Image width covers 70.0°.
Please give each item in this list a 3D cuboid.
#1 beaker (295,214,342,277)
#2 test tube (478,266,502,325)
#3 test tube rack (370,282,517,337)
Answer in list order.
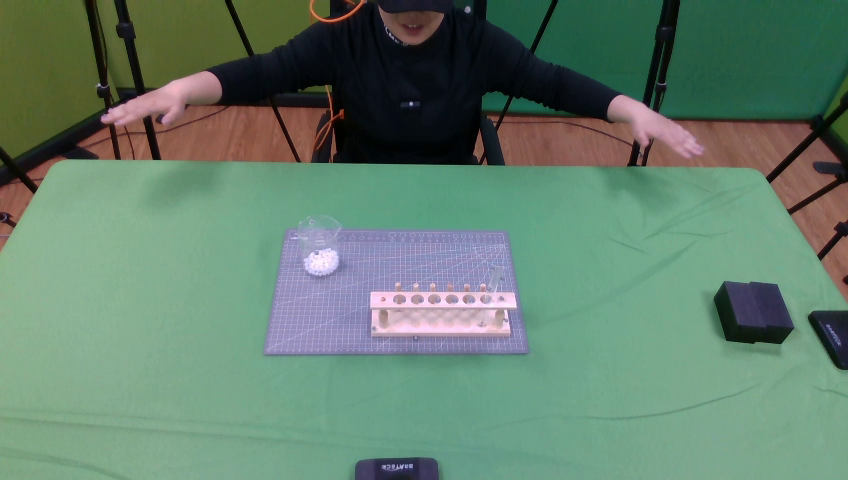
[{"bbox_3d":[-0.191,0.013,1.114,0.084,0.101,0.073,-12,49,-17],"label":"beaker"},{"bbox_3d":[0.107,0.096,0.998,0.017,0.151,0.017,4,48,-4],"label":"test tube"},{"bbox_3d":[0.030,0.116,1.041,0.242,0.085,0.066,1,46,-4],"label":"test tube rack"}]
